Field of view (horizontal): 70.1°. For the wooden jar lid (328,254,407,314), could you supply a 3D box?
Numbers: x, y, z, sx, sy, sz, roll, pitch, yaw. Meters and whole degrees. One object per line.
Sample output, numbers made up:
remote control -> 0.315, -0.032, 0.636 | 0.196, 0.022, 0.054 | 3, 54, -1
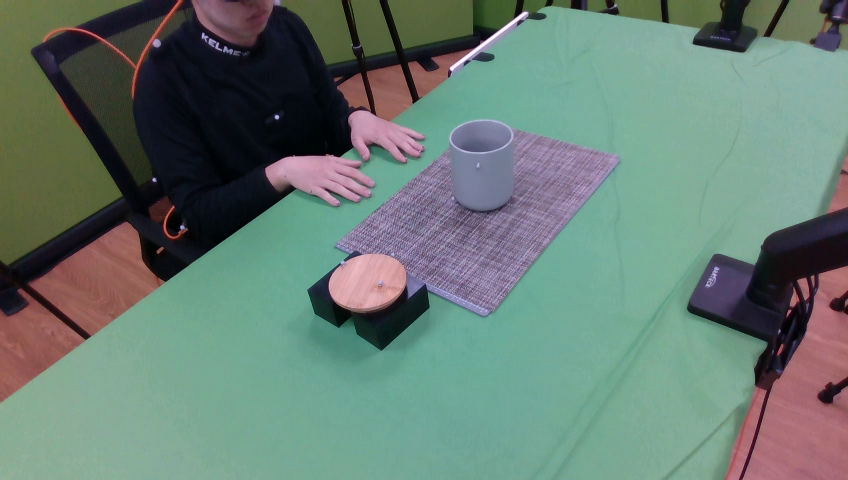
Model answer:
wooden jar lid -> -0.077, 0.062, 0.832 | 0.108, 0.021, 0.108 | -4, 39, 4

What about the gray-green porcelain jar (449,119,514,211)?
gray-green porcelain jar -> 0.098, -0.120, 1.008 | 0.106, 0.127, 0.105 | -4, 41, 4
